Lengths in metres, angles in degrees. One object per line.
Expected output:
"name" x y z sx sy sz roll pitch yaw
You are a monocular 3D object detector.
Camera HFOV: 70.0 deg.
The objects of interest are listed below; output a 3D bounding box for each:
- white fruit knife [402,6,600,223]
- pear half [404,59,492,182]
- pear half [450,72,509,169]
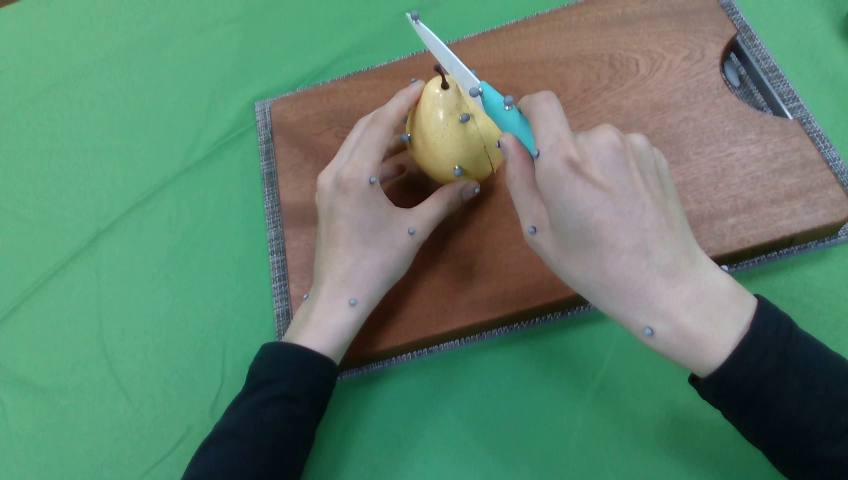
"white fruit knife" 0.040 -0.090 0.383 0.016 0.027 0.205 -31 63 -14
"pear half" 0.010 -0.085 0.438 0.056 0.111 0.075 -29 55 1
"pear half" 0.045 -0.095 0.447 0.031 0.089 0.069 -28 54 -1
